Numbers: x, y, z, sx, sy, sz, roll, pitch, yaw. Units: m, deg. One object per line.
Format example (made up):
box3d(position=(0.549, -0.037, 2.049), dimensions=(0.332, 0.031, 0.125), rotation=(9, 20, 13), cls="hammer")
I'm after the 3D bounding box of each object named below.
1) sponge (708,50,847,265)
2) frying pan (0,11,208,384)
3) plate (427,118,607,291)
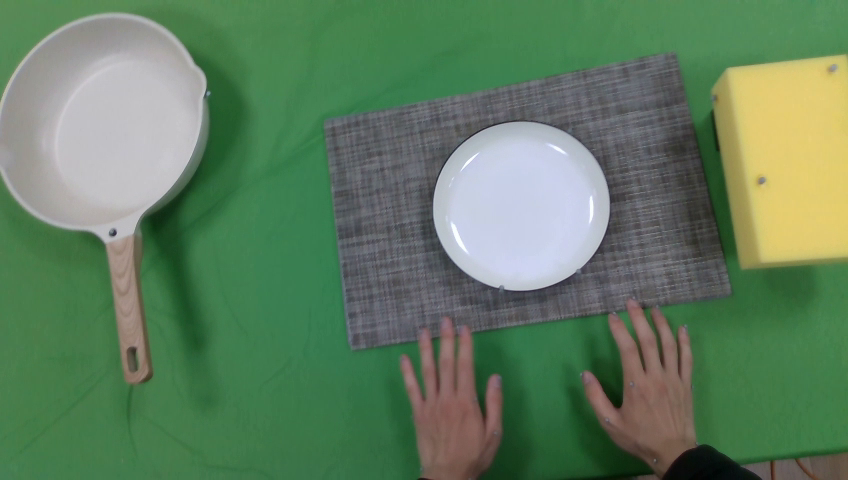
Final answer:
box3d(position=(0.380, -0.082, 0.629), dimensions=(0.118, 0.061, 0.206), rotation=(-6, 81, 7), cls="sponge")
box3d(position=(-0.389, -0.057, 0.767), dimensions=(0.307, 0.103, 0.484), rotation=(-17, 71, 7), cls="frying pan")
box3d(position=(0.109, -0.041, 0.721), dimensions=(0.207, 0.039, 0.207), rotation=(-1, 81, 8), cls="plate")
